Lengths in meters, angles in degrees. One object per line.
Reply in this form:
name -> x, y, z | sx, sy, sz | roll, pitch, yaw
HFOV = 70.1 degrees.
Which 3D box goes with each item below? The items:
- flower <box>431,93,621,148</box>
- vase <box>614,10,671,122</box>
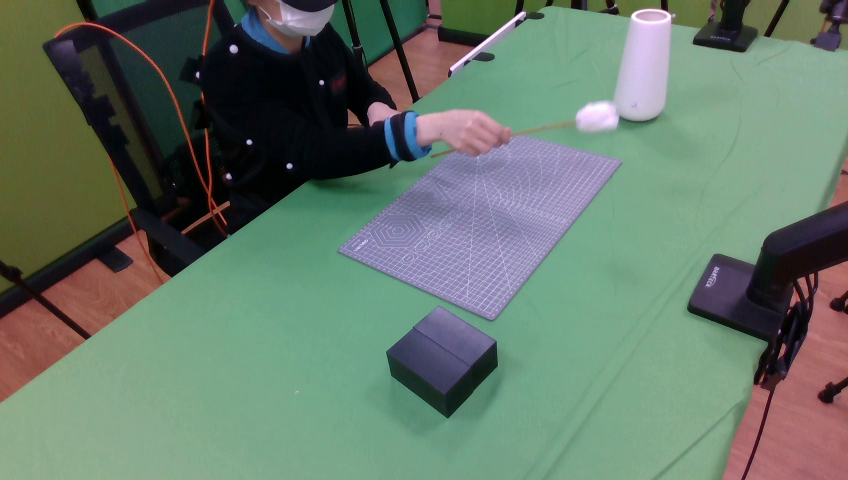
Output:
flower -> 0.147, -0.183, 0.993 | 0.359, 0.044, 0.038 | -5, 58, 43
vase -> 0.419, -0.326, 1.151 | 0.098, 0.201, 0.097 | -4, 42, 4
